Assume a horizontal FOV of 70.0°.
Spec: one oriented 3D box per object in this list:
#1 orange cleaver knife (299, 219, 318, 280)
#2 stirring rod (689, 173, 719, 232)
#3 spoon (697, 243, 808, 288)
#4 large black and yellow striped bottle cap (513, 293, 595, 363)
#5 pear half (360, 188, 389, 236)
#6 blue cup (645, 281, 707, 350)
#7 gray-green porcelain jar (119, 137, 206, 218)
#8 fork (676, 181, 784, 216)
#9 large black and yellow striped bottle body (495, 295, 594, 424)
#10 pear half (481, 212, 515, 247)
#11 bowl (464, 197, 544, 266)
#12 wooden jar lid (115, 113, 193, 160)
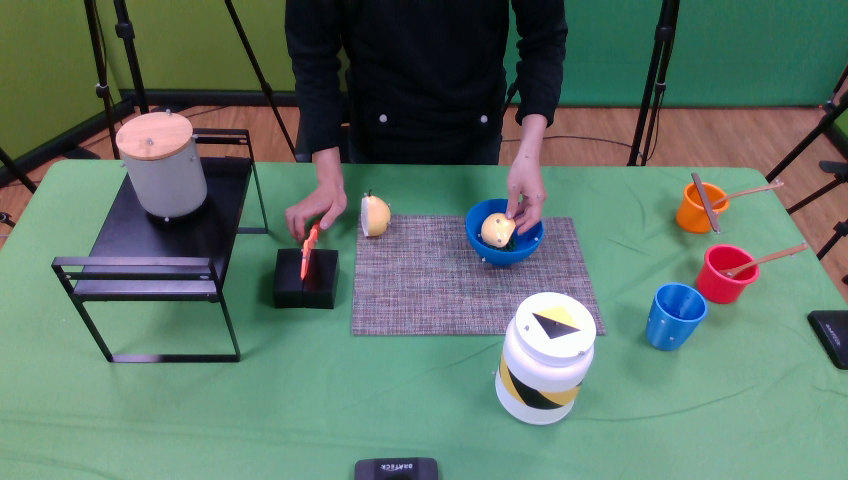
[{"bbox_3d":[-0.214,0.013,1.125,0.012,0.077,0.210,6,17,-5],"label":"orange cleaver knife"},{"bbox_3d":[0.566,-0.079,1.225,0.014,0.006,0.175,2,45,2],"label":"stirring rod"},{"bbox_3d":[0.601,0.045,1.115,0.194,0.022,0.041,-29,35,30],"label":"spoon"},{"bbox_3d":[0.186,0.123,0.863,0.115,0.019,0.114,3,45,-3],"label":"large black and yellow striped bottle cap"},{"bbox_3d":[-0.096,-0.060,1.181,0.056,0.110,0.076,-13,52,-17],"label":"pear half"},{"bbox_3d":[0.425,0.136,1.042,0.093,0.101,0.092,1,44,-1],"label":"blue cup"},{"bbox_3d":[-0.403,-0.106,0.946,0.106,0.127,0.105,3,46,-2],"label":"gray-green porcelain jar"},{"bbox_3d":[0.618,-0.084,1.235,0.207,0.019,0.028,-23,20,38],"label":"fork"},{"bbox_3d":[0.183,0.182,0.923,0.131,0.185,0.130,2,46,-2],"label":"large black and yellow striped bottle body"},{"bbox_3d":[0.135,-0.025,1.150,0.070,0.031,0.087,-32,35,18],"label":"pear half"},{"bbox_3d":[0.149,-0.004,1.167,0.151,0.077,0.150,3,46,-2],"label":"bowl"},{"bbox_3d":[-0.399,-0.151,0.900,0.108,0.021,0.107,3,46,-3],"label":"wooden jar lid"}]
